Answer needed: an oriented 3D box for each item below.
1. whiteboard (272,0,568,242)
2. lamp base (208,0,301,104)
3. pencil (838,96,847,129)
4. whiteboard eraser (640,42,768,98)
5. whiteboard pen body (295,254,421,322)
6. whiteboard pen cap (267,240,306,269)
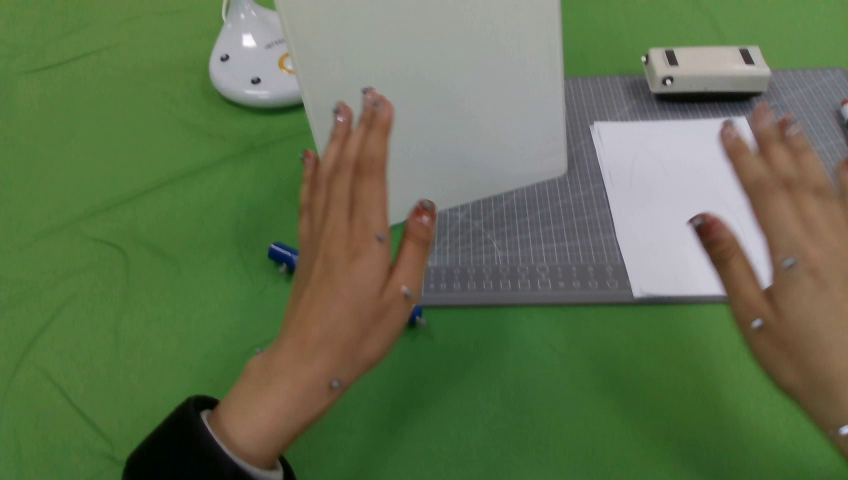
[{"bbox_3d":[-0.013,-0.189,0.520,0.217,0.308,0.142,-16,31,-8],"label":"whiteboard"},{"bbox_3d":[-0.179,-0.263,0.638,0.177,0.182,0.160,33,59,30],"label":"lamp base"},{"bbox_3d":[0.392,-0.064,0.537,0.012,0.012,0.192,7,53,10],"label":"pencil"},{"bbox_3d":[0.281,-0.172,0.614,0.112,0.042,0.055,1,51,5],"label":"whiteboard eraser"},{"bbox_3d":[-0.065,0.034,0.488,0.140,0.017,0.017,21,55,22],"label":"whiteboard pen body"},{"bbox_3d":[-0.115,0.012,0.509,0.033,0.018,0.018,21,55,24],"label":"whiteboard pen cap"}]
